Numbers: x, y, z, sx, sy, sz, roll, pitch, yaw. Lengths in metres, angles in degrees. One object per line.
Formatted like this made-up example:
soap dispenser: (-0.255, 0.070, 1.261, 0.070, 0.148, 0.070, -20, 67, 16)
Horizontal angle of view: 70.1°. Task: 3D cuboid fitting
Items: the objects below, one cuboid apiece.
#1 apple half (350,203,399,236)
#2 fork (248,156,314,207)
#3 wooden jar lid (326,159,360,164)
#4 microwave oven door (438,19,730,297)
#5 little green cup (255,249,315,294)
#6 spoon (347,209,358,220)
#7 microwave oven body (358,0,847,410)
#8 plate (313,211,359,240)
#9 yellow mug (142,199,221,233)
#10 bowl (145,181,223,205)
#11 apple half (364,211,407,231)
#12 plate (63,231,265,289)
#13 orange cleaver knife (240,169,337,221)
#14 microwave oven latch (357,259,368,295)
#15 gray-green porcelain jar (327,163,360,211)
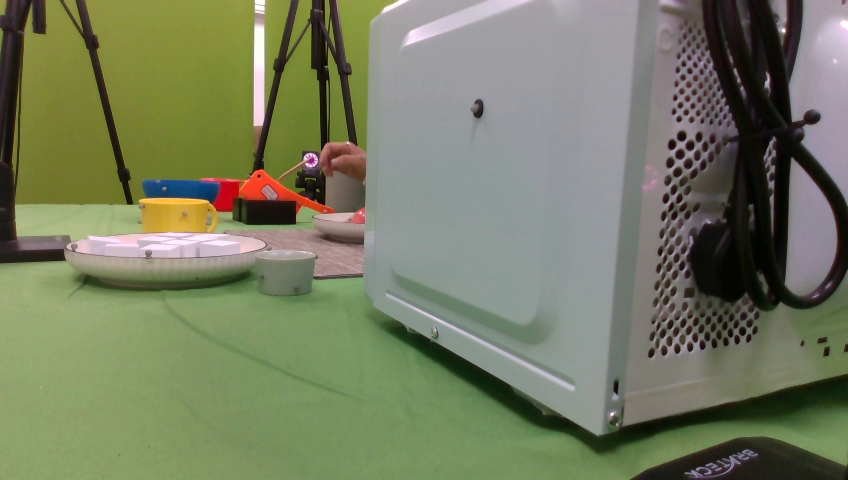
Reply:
apple half: (-0.082, -0.036, 1.024, 0.081, 0.053, 0.074, -3, 11, -33)
fork: (-0.360, -0.147, 1.523, 0.207, 0.018, 0.028, -43, 16, -7)
wooden jar lid: (-0.185, -0.187, 1.481, 0.108, 0.020, 0.108, 4, 6, 0)
microwave oven door: (0.181, -0.076, 0.618, 0.358, 0.243, 0.039, -2, 8, -28)
little green cup: (-0.144, 0.032, 0.627, 0.061, 0.038, 0.061, 3, 7, 0)
spoon: (-0.123, -0.047, 1.116, 0.041, 0.021, 0.194, -6, 17, 19)
microwave oven body: (0.210, -0.051, 0.471, 0.444, 0.260, 0.324, -1, 7, -28)
plate: (-0.091, -0.026, 1.063, 0.209, 0.038, 0.209, 2, 7, 0)
yellow mug: (-0.373, -0.030, 0.948, 0.099, 0.064, 0.131, 6, 7, 30)
bowl: (-0.499, -0.081, 1.261, 0.151, 0.077, 0.151, 2, 8, 0)
apple half: (-0.068, -0.036, 1.103, 0.081, 0.033, 0.081, 0, 10, 0)
plate: (-0.288, 0.021, 0.687, 0.208, 0.039, 0.207, 2, 8, 0)
orange cleaver knife: (-0.287, -0.082, 1.299, 0.212, 0.077, 0.012, 25, -2, -31)
microwave oven latch: (-0.019, 0.031, 0.529, 0.079, 0.029, 0.030, -1, 7, -26)
gray-green porcelain jar: (-0.187, -0.125, 1.490, 0.106, 0.126, 0.106, 2, 8, 0)
